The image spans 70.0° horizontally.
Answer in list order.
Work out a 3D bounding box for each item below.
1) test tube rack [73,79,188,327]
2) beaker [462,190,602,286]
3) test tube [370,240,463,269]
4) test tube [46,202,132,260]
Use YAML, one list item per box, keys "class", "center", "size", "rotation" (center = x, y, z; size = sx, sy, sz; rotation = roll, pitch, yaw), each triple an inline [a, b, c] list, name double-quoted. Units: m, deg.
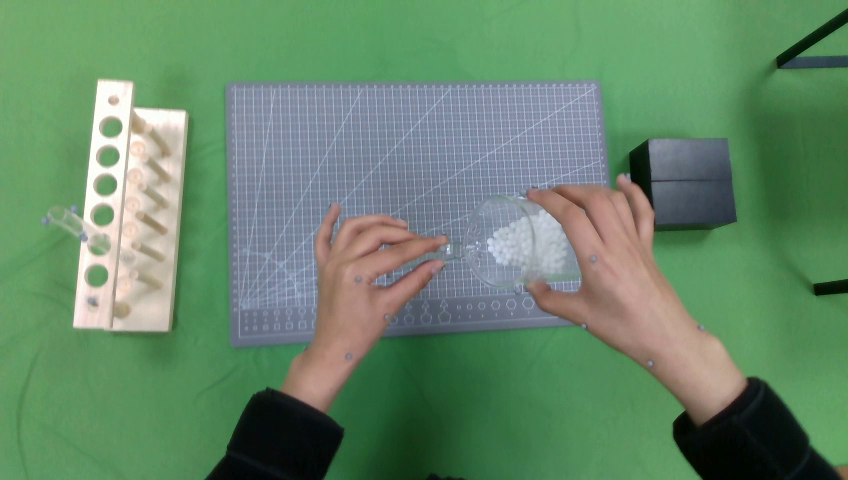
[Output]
- class: "test tube rack"
  center: [-0.298, -0.033, 0.627]
  size: [0.067, 0.085, 0.241]
  rotation: [2, 81, -6]
- class: "beaker"
  center: [0.092, 0.000, 0.505]
  size: [0.101, 0.083, 0.074]
  rotation: [0, 85, -41]
- class: "test tube"
  center: [-0.012, 0.015, 0.570]
  size: [0.017, 0.150, 0.017]
  rotation: [5, 81, -32]
- class: "test tube"
  center: [-0.310, -0.005, 0.571]
  size: [0.017, 0.151, 0.017]
  rotation: [1, 74, -4]
